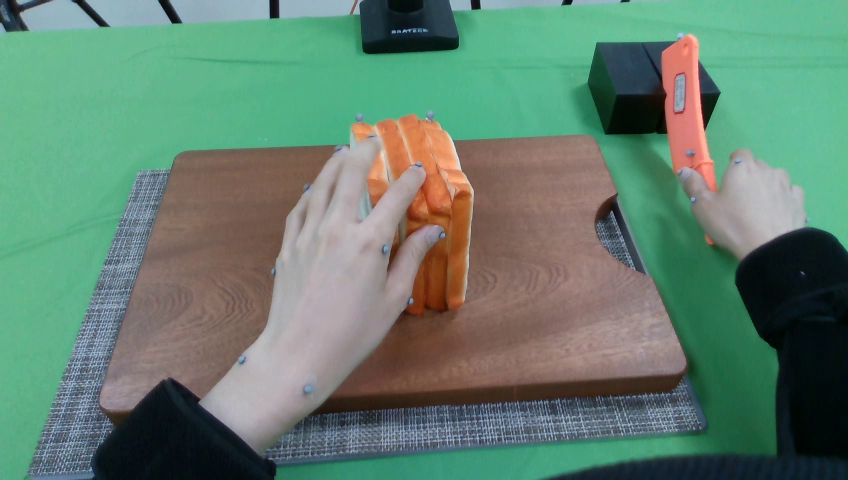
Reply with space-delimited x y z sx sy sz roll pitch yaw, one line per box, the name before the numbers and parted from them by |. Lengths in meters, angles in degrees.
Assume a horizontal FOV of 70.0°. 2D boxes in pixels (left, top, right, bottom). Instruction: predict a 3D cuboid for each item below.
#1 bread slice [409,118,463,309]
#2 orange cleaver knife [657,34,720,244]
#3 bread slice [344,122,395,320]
bread slice | 0.007 -0.030 0.453 0.019 0.106 0.130 -5 41 -8
orange cleaver knife | 0.244 -0.094 0.568 0.012 0.077 0.210 -2 76 -3
bread slice | -0.042 -0.022 0.446 0.018 0.108 0.133 -6 39 -12
